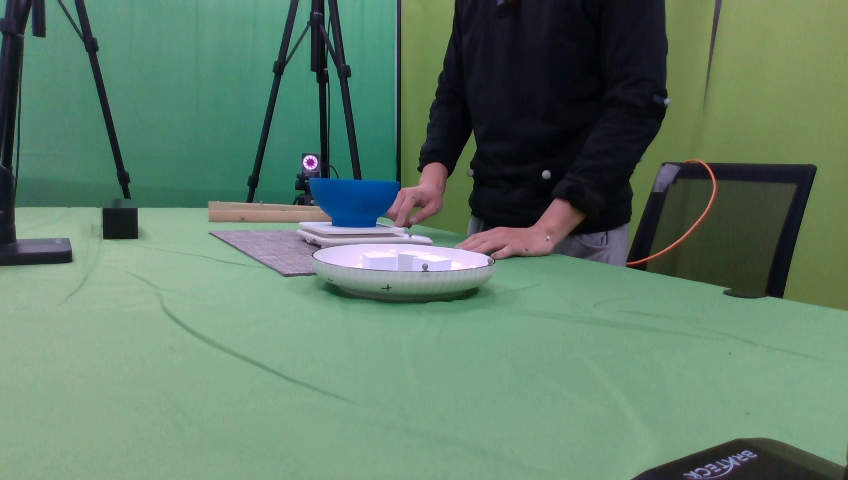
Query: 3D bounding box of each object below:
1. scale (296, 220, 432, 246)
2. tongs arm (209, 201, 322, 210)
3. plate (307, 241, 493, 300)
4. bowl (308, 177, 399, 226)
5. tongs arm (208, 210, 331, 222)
[{"bbox_3d":[-0.101,-0.012,1.017,0.202,0.031,0.148,-1,8,-30],"label":"scale"},{"bbox_3d":[-0.306,-0.071,1.430,0.386,0.026,0.050,1,8,-15],"label":"tongs arm"},{"bbox_3d":[-0.027,0.034,0.684,0.208,0.039,0.207,2,7,0],"label":"plate"},{"bbox_3d":[-0.117,-0.064,1.001,0.151,0.077,0.151,2,6,0],"label":"bowl"},{"bbox_3d":[-0.280,-0.056,1.355,0.389,0.028,0.028,-1,6,-28],"label":"tongs arm"}]
